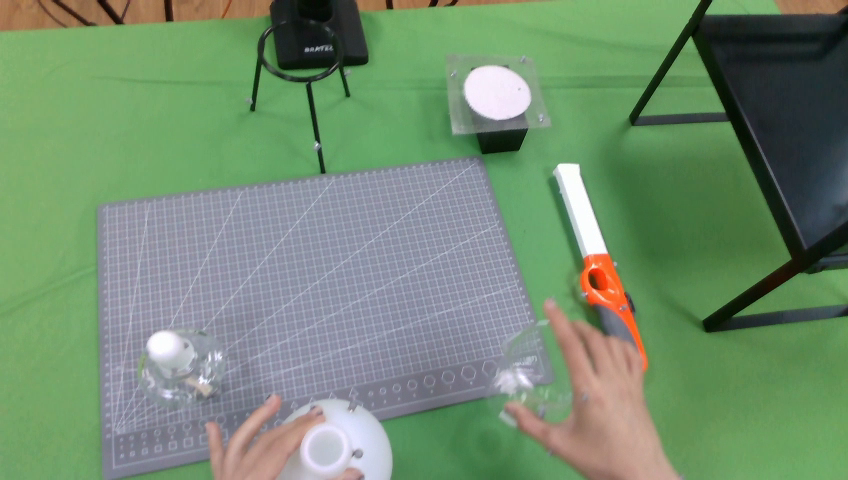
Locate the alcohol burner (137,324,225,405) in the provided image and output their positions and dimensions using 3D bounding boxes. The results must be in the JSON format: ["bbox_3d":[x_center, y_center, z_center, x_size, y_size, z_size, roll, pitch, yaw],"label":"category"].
[{"bbox_3d":[-0.225,0.108,0.554,0.078,0.120,0.077,4,61,-7],"label":"alcohol burner"}]

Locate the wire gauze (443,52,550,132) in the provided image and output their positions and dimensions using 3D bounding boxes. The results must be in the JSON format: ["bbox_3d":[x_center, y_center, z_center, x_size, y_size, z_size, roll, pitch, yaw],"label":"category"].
[{"bbox_3d":[0.088,-0.187,0.755,0.122,0.011,0.124,-2,63,-9],"label":"wire gauze"}]

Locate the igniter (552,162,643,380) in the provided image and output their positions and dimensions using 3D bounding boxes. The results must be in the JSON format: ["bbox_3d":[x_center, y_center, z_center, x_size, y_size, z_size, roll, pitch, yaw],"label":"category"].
[{"bbox_3d":[0.200,0.027,0.707,0.057,0.025,0.274,-1,63,-20],"label":"igniter"}]

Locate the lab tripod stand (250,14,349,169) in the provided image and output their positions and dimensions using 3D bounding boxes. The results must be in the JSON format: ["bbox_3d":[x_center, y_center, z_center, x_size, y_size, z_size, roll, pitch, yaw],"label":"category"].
[{"bbox_3d":[-0.137,-0.177,0.703,0.149,0.132,0.147,4,63,-8],"label":"lab tripod stand"}]

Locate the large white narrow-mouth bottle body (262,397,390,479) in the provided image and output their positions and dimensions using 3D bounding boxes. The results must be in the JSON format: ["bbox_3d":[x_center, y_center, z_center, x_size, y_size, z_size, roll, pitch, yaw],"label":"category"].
[{"bbox_3d":[-0.079,0.183,0.494,0.102,0.196,0.101,3,62,-6],"label":"large white narrow-mouth bottle body"}]

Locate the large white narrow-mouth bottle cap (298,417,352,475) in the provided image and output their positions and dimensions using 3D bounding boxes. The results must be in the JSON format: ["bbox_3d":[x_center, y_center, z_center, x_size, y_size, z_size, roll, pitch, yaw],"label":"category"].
[{"bbox_3d":[-0.069,0.143,0.420,0.038,0.024,0.037,3,62,-6],"label":"large white narrow-mouth bottle cap"}]

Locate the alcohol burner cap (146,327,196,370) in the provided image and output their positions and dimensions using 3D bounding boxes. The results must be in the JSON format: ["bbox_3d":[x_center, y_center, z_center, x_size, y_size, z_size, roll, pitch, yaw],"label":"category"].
[{"bbox_3d":[-0.220,0.092,0.521,0.034,0.048,0.033,2,69,-5],"label":"alcohol burner cap"}]

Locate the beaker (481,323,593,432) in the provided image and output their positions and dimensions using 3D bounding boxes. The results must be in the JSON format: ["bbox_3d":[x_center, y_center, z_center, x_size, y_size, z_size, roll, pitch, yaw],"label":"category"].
[{"bbox_3d":[0.093,0.127,0.546,0.084,0.101,0.073,22,58,2],"label":"beaker"}]
